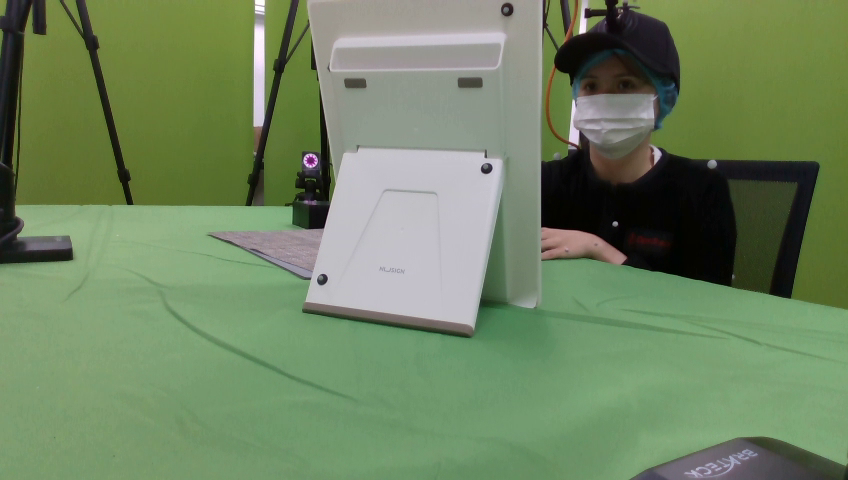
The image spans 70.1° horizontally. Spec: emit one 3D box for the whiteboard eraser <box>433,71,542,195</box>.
[{"bbox_3d":[0.057,-0.098,0.569,0.055,0.112,0.042,35,34,0],"label":"whiteboard eraser"}]

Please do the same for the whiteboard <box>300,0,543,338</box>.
[{"bbox_3d":[-0.020,-0.050,0.523,0.216,0.305,0.144,6,28,22],"label":"whiteboard"}]
